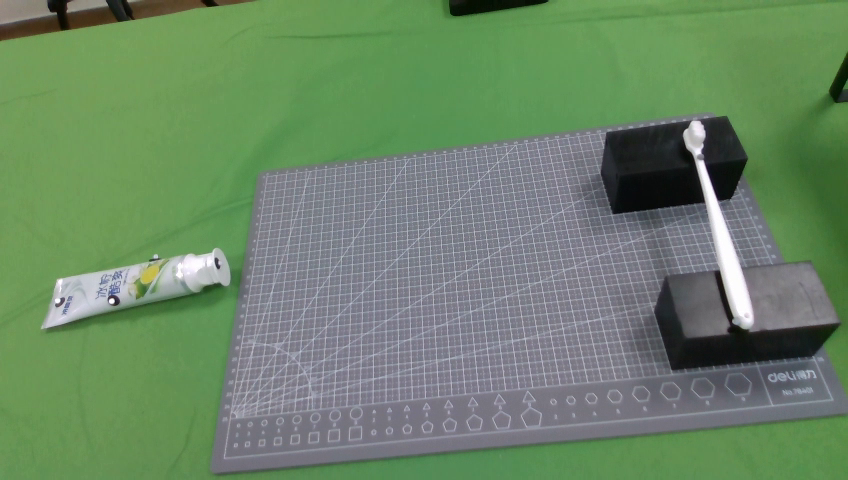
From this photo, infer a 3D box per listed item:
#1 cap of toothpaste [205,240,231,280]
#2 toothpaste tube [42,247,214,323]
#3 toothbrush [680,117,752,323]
[{"bbox_3d":[-0.181,0.018,0.531,0.011,0.038,0.037,-15,53,0],"label":"cap of toothpaste"},{"bbox_3d":[-0.260,0.034,0.540,0.165,0.035,0.054,-12,48,6],"label":"toothpaste tube"},{"bbox_3d":[0.212,-0.022,0.443,0.014,0.017,0.180,4,56,-3],"label":"toothbrush"}]
